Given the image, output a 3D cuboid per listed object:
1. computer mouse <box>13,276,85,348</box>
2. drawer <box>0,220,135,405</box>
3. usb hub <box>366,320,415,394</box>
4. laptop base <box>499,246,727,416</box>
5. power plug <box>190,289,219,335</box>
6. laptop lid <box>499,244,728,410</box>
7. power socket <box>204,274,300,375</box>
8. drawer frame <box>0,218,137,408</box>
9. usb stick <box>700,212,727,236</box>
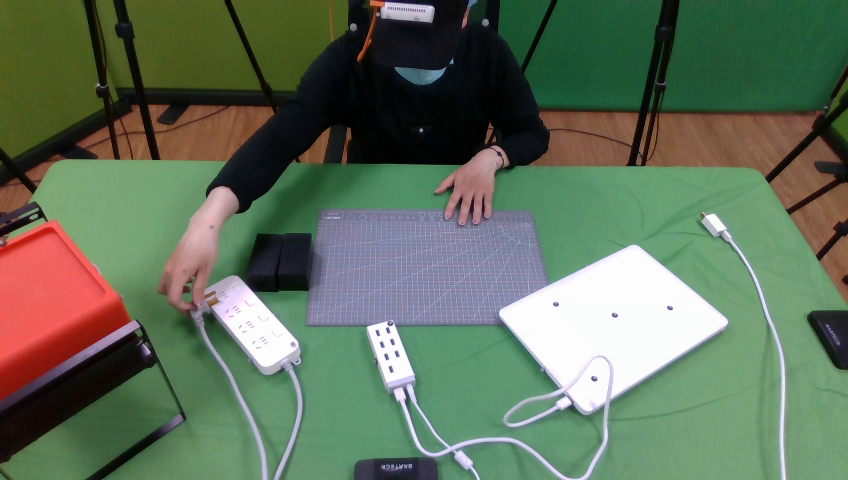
[{"bbox_3d":[-0.497,0.090,0.804,0.063,0.041,0.116,-7,42,-7],"label":"computer mouse"},{"bbox_3d":[-0.522,0.093,0.782,0.211,0.073,0.193,-35,58,-30],"label":"drawer"},{"bbox_3d":[-0.056,0.192,1.009,0.049,0.025,0.124,-12,49,-16],"label":"usb hub"},{"bbox_3d":[0.339,0.146,1.088,0.354,0.023,0.234,-23,49,-24],"label":"laptop base"},{"bbox_3d":[-0.367,0.119,1.030,0.053,0.035,0.072,-24,92,-28],"label":"power plug"},{"bbox_3d":[0.338,0.136,1.080,0.357,0.013,0.240,-21,50,-23],"label":"laptop lid"},{"bbox_3d":[-0.297,0.140,1.034,0.072,0.033,0.225,-32,56,-29],"label":"power socket"},{"bbox_3d":[-0.523,0.094,0.779,0.200,0.083,0.213,37,55,26],"label":"drawer frame"},{"bbox_3d":[0.606,-0.037,1.273,0.027,0.021,0.059,-18,56,-20],"label":"usb stick"}]
